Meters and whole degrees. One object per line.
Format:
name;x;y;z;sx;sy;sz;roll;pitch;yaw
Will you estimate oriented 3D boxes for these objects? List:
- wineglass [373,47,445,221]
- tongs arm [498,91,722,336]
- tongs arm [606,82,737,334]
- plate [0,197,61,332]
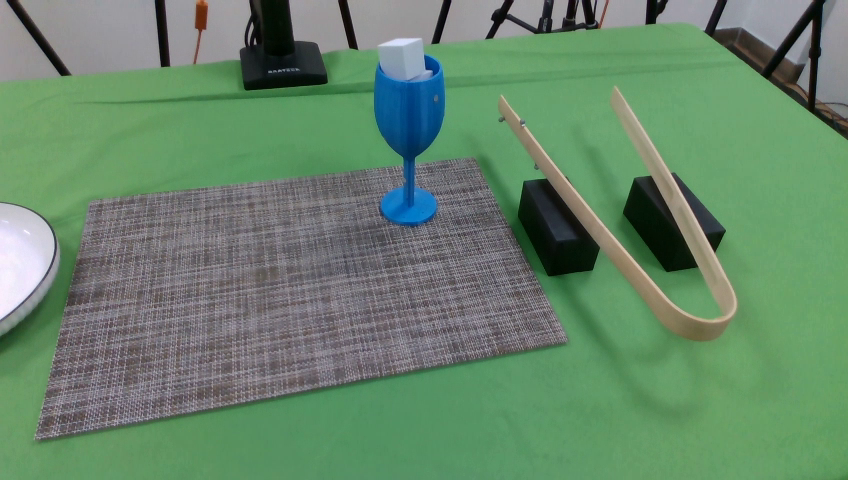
wineglass;-0.016;-0.105;0.632;0.074;0.174;0.073;1;44;-1
tongs arm;0.169;-0.052;0.629;0.051;0.027;0.380;-8;45;-14
tongs arm;0.248;-0.061;0.643;0.028;0.028;0.383;3;43;-7
plate;-0.447;0.038;0.562;0.209;0.038;0.207;2;44;-1
